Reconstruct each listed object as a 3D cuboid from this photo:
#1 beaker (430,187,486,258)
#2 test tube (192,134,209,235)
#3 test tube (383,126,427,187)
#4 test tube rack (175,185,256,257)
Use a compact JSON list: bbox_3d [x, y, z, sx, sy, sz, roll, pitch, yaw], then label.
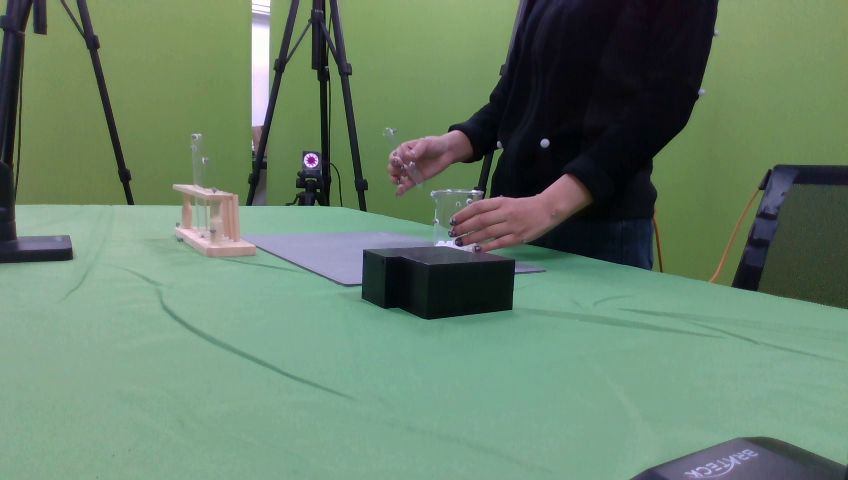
[{"bbox_3d":[0.049,-0.026,0.895,0.084,0.100,0.074,-1,7,-15],"label":"beaker"},{"bbox_3d":[-0.332,-0.082,0.898,0.017,0.150,0.017,-2,6,0],"label":"test tube"},{"bbox_3d":[-0.029,-0.137,1.014,0.017,0.017,0.151,6,-29,31],"label":"test tube"},{"bbox_3d":[-0.324,-0.035,0.922,0.067,0.085,0.241,-2,9,-31],"label":"test tube rack"}]
